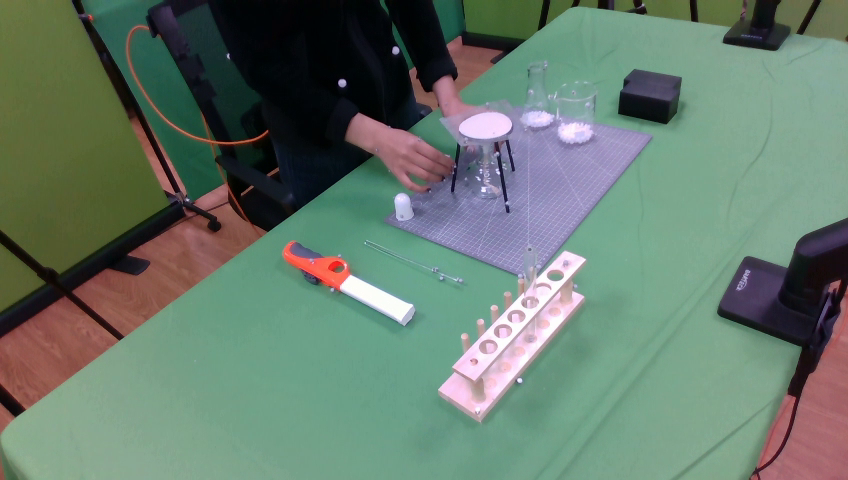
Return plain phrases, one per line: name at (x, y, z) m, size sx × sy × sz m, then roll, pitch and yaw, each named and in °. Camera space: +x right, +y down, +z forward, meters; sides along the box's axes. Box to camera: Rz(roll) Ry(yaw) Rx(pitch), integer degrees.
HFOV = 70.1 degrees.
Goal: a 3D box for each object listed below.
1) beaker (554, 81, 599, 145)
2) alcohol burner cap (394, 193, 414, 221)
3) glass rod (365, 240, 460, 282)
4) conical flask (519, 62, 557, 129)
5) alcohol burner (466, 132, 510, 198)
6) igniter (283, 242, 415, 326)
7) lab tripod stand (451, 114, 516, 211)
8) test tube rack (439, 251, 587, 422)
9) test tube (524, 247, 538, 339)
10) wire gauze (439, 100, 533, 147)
beaker at (0.286, -0.236, 1.144) m, size 0.084 × 0.101 × 0.073 m, roll -17°, pitch 40°, yaw -7°
alcohol burner cap at (-0.036, -0.059, 1.040) m, size 0.034 × 0.048 × 0.033 m, roll -5°, pitch 41°, yaw 5°
glass rod at (-0.022, 0.032, 0.961) m, size 0.198 × 0.008 × 0.008 m, roll 21°, pitch 49°, yaw 35°
conical flask at (0.225, -0.288, 1.198) m, size 0.075 × 0.122 × 0.075 m, roll -6°, pitch 40°, yaw 5°
alcohol burner at (0.110, -0.133, 1.044) m, size 0.078 × 0.119 × 0.077 m, roll -5°, pitch 38°, yaw 5°
igniter at (-0.126, 0.062, 0.931) m, size 0.274 × 0.025 × 0.057 m, roll 24°, pitch 61°, yaw 33°
lab tripod stand at (0.113, -0.140, 1.037) m, size 0.148 × 0.132 × 0.147 m, roll -6°, pitch 38°, yaw 5°
test tube rack at (0.118, 0.111, 0.780) m, size 0.066 × 0.085 × 0.243 m, roll 26°, pitch 51°, yaw 34°
test tube at (0.133, 0.070, 0.749) m, size 0.017 × 0.151 × 0.017 m, roll -5°, pitch 38°, yaw 4°
wire gauze at (0.100, -0.190, 0.994) m, size 0.125 × 0.011 × 0.120 m, roll -15°, pitch 39°, yaw -7°
